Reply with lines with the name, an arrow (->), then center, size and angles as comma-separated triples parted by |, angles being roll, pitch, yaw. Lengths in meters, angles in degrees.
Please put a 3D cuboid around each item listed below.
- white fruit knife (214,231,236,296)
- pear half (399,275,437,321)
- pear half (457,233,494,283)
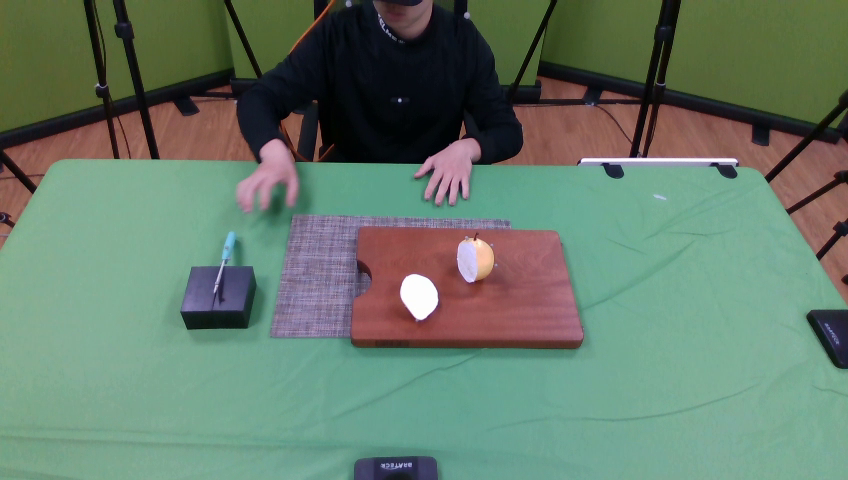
white fruit knife -> -0.359, 0.038, 1.091 | 0.016, 0.027, 0.206 | 5, 29, -11
pear half -> -0.013, 0.104, 1.051 | 0.070, 0.031, 0.087 | 12, 58, -15
pear half -> 0.098, 0.023, 1.087 | 0.056, 0.110, 0.076 | -22, 55, -24
